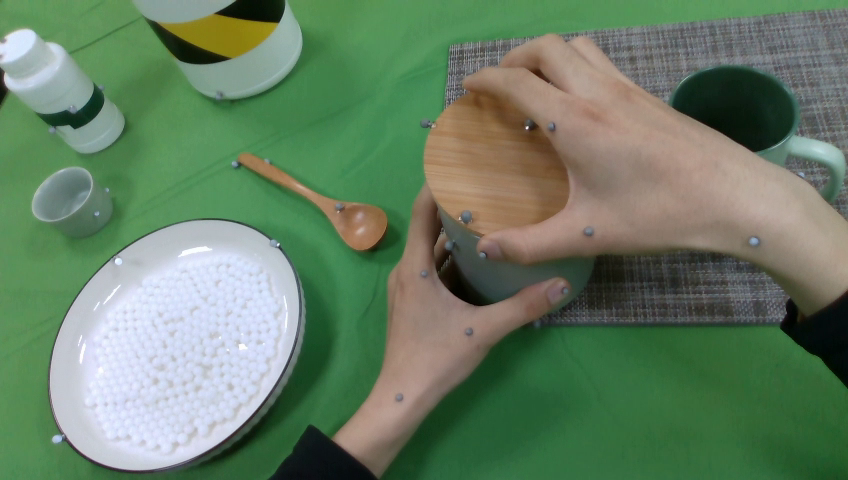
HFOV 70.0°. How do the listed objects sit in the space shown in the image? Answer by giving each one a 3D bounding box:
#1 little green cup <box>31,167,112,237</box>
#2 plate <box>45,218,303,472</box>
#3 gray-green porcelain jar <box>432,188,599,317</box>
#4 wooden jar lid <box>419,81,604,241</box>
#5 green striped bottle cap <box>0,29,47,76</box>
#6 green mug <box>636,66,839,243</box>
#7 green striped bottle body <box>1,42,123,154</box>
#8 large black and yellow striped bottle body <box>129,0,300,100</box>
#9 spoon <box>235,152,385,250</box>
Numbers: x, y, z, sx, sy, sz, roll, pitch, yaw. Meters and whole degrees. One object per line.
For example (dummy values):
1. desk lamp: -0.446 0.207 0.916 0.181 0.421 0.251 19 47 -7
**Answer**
1. little green cup: -0.333 -0.034 0.576 0.061 0.039 0.061 -5 59 9
2. plate: -0.192 0.078 0.482 0.209 0.038 0.207 -5 60 9
3. gray-green porcelain jar: 0.066 -0.012 0.422 0.106 0.128 0.105 -5 59 10
4. wooden jar lid: 0.052 -0.047 0.364 0.108 0.021 0.107 -1 68 4
5. green striped bottle cap: -0.371 -0.172 0.554 0.044 0.020 0.044 -4 61 7
6. green mug: 0.219 -0.053 0.427 0.124 0.106 0.092 18 65 20
7. green striped bottle body: -0.361 -0.145 0.598 0.063 0.120 0.062 -6 59 10
8. large black and yellow striped bottle body: -0.212 -0.242 0.583 0.130 0.186 0.129 -5 60 9
9. spoon: -0.108 -0.043 0.543 0.192 0.022 0.041 30 88 25
